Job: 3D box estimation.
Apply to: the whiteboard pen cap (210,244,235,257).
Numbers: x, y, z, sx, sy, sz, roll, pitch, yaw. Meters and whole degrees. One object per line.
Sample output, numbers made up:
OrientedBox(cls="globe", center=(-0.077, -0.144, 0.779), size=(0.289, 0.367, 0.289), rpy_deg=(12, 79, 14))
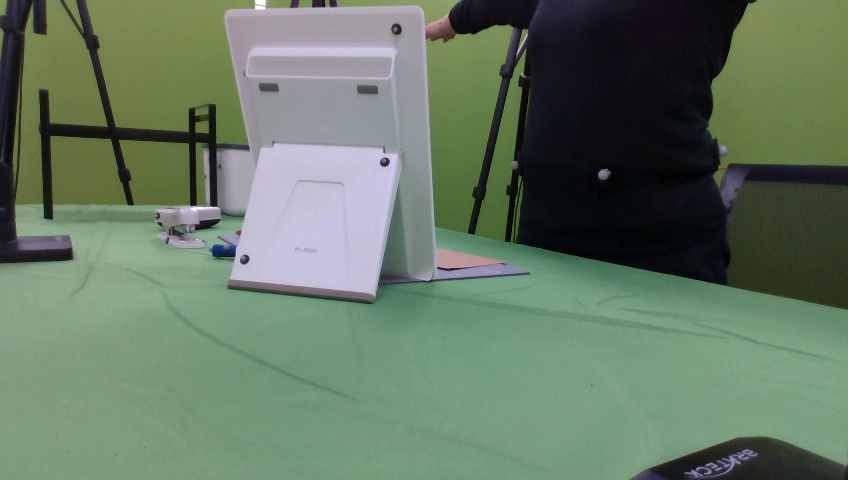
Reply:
OrientedBox(cls="whiteboard pen cap", center=(-0.266, 0.015, 0.806), size=(0.033, 0.018, 0.018), rpy_deg=(3, 7, -1))

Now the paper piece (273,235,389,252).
OrientedBox(cls="paper piece", center=(-0.151, 0.003, 0.978), size=(0.135, 0.008, 0.139), rpy_deg=(13, 10, 35))

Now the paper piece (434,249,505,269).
OrientedBox(cls="paper piece", center=(0.025, 0.026, 0.865), size=(0.134, 0.004, 0.136), rpy_deg=(9, 9, 43))

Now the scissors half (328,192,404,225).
OrientedBox(cls="scissors half", center=(-0.127, -0.072, 1.321), size=(0.175, 0.040, 0.013), rpy_deg=(22, 2, -5))

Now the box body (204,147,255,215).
OrientedBox(cls="box body", center=(-0.347, -0.152, 1.519), size=(0.366, 0.160, 0.253), rpy_deg=(-2, 9, -31))

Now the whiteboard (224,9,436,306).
OrientedBox(cls="whiteboard", center=(-0.117, -0.065, 0.617), size=(0.217, 0.305, 0.144), rpy_deg=(5, 29, 16))

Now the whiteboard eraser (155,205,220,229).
OrientedBox(cls="whiteboard eraser", center=(-0.428, -0.041, 1.100), size=(0.055, 0.042, 0.113), rpy_deg=(7, 8, 19))

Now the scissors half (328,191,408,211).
OrientedBox(cls="scissors half", center=(-0.123, -0.091, 1.318), size=(0.175, 0.040, 0.013), rpy_deg=(6, 9, -4))

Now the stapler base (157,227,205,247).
OrientedBox(cls="stapler base", center=(-0.376, -0.007, 0.935), size=(0.041, 0.024, 0.130), rpy_deg=(1, 5, -38))

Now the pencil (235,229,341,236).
OrientedBox(cls="pencil", center=(-0.232, -0.012, 1.053), size=(0.195, 0.012, 0.012), rpy_deg=(0, 8, -36))

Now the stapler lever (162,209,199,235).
OrientedBox(cls="stapler lever", center=(-0.376, -0.031, 0.933), size=(0.027, 0.040, 0.117), rpy_deg=(1, 7, -38))

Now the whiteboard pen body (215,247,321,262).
OrientedBox(cls="whiteboard pen body", center=(-0.208, 0.018, 0.805), size=(0.141, 0.017, 0.017), rpy_deg=(2, 7, 1))

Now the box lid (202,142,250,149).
OrientedBox(cls="box lid", center=(-0.344, -0.225, 1.509), size=(0.373, 0.015, 0.262), rpy_deg=(-2, 8, -31))
